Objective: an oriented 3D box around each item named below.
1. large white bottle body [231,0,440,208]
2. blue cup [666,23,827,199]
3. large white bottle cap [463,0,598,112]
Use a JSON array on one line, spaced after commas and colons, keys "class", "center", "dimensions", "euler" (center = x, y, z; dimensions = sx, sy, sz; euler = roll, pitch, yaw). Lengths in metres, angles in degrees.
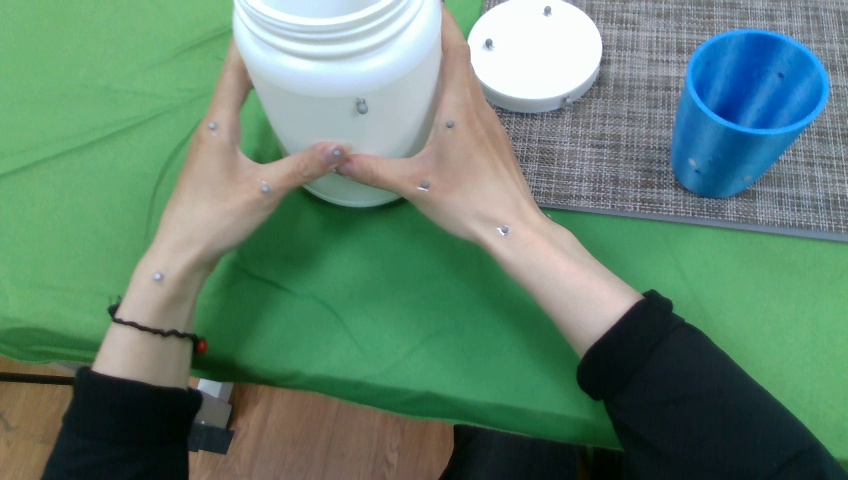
[{"class": "large white bottle body", "center": [-0.055, -0.120, 0.421], "dimensions": [0.130, 0.186, 0.129], "euler": [0, 64, 1]}, {"class": "blue cup", "center": [0.212, -0.079, 0.423], "dimensions": [0.092, 0.101, 0.092], "euler": [-3, 63, 6]}, {"class": "large white bottle cap", "center": [0.091, -0.161, 0.521], "dimensions": [0.115, 0.018, 0.114], "euler": [-2, 65, 4]}]
